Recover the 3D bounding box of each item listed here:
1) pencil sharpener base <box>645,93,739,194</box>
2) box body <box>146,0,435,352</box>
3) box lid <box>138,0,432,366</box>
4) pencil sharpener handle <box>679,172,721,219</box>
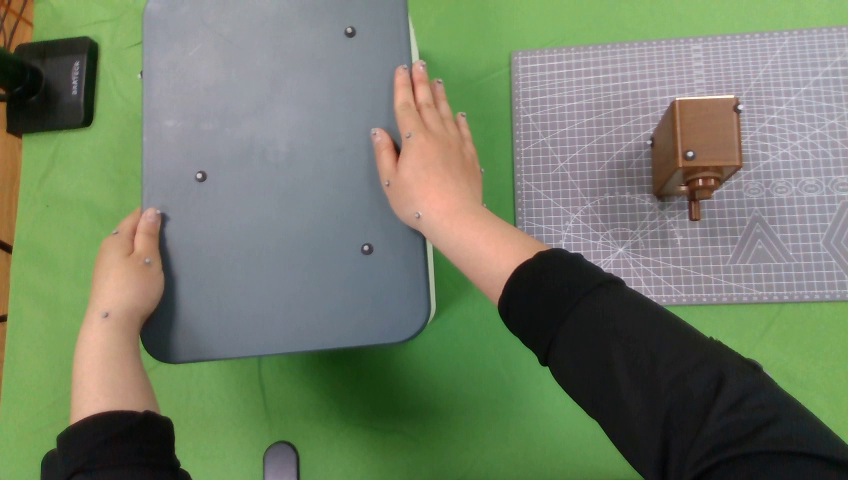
[{"bbox_3d":[0.265,-0.090,0.607,0.061,0.107,0.076,-2,80,8],"label":"pencil sharpener base"},{"bbox_3d":[-0.128,-0.071,0.636,0.254,0.161,0.362,-6,79,7],"label":"box body"},{"bbox_3d":[-0.137,-0.080,0.559,0.263,0.015,0.370,-7,81,6],"label":"box lid"},{"bbox_3d":[0.265,-0.042,0.586,0.036,0.068,0.030,-3,79,14],"label":"pencil sharpener handle"}]
